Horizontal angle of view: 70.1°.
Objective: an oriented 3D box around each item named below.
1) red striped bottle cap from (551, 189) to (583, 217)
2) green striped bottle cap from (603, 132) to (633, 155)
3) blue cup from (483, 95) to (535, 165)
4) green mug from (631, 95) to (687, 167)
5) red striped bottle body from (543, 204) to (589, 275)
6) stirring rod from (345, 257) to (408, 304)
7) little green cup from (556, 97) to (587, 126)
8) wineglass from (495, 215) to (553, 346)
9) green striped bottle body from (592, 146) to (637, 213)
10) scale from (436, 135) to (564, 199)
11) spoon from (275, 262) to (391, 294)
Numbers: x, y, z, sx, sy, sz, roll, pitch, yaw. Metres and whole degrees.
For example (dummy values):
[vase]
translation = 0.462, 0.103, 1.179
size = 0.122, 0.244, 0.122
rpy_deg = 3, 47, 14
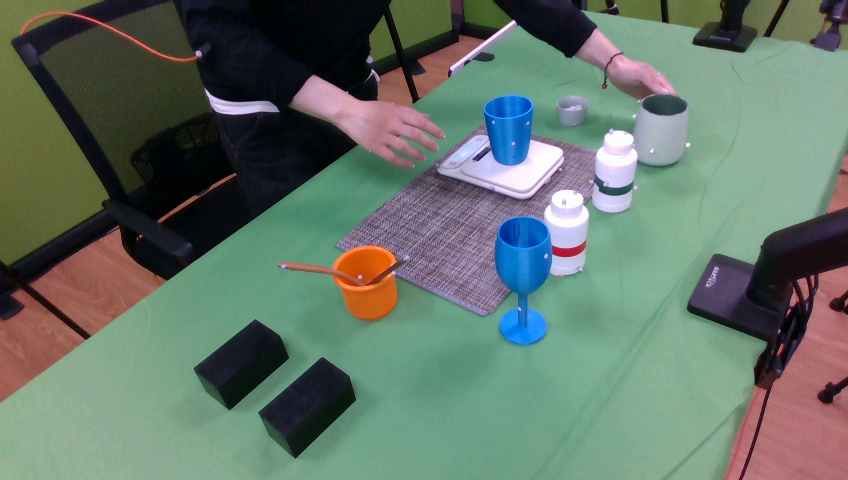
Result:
[red striped bottle cap]
translation = 0.200, -0.052, 0.843
size = 0.044, 0.018, 0.044
rpy_deg = -2, 43, 2
[green striped bottle cap]
translation = 0.302, -0.149, 0.938
size = 0.044, 0.020, 0.044
rpy_deg = -3, 40, 3
[blue cup]
translation = 0.148, -0.188, 1.053
size = 0.092, 0.100, 0.092
rpy_deg = -5, 39, 5
[green mug]
translation = 0.418, -0.202, 1.082
size = 0.092, 0.105, 0.125
rpy_deg = 2, 41, 12
[red striped bottle body]
translation = 0.205, -0.011, 0.878
size = 0.063, 0.120, 0.062
rpy_deg = -5, 41, 4
[stirring rod]
translation = -0.067, 0.057, 0.815
size = 0.014, 0.175, 0.006
rpy_deg = -25, 82, -38
[little green cup]
translation = 0.295, -0.257, 1.214
size = 0.061, 0.039, 0.061
rpy_deg = -4, 41, 4
[wineglass]
translation = 0.127, 0.054, 0.770
size = 0.074, 0.173, 0.073
rpy_deg = -4, 40, 4
[green striped bottle body]
translation = 0.307, -0.108, 0.976
size = 0.063, 0.120, 0.063
rpy_deg = -4, 41, 4
[scale]
translation = 0.137, -0.142, 1.101
size = 0.199, 0.032, 0.149
rpy_deg = 22, 48, 30
[spoon]
translation = -0.120, 0.050, 0.830
size = 0.041, 0.195, 0.021
rpy_deg = 31, 97, 45
